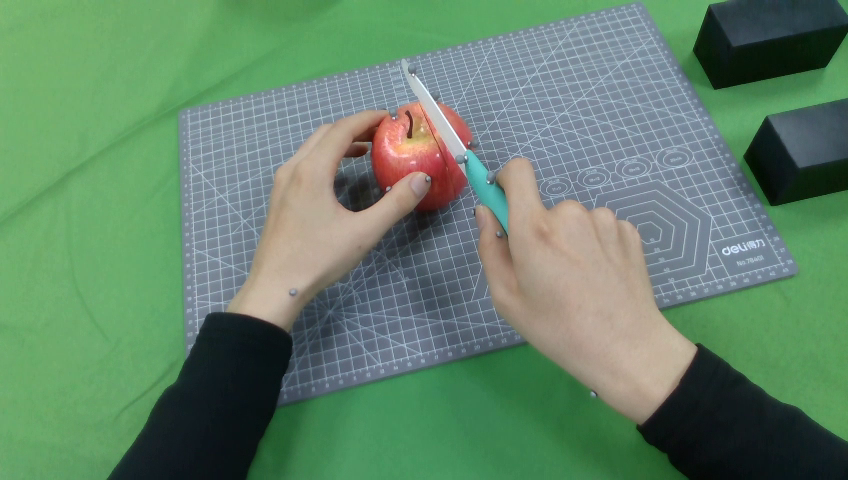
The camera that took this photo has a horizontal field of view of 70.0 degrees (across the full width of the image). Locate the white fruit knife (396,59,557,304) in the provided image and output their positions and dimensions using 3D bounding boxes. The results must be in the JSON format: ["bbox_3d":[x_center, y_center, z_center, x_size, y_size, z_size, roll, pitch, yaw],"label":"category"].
[{"bbox_3d":[0.029,-0.049,0.410,0.016,0.027,0.206,-24,69,-20],"label":"white fruit knife"}]

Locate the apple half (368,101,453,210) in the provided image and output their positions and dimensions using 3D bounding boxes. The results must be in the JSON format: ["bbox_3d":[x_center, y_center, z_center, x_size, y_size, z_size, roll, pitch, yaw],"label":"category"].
[{"bbox_3d":[-0.015,-0.059,0.471,0.053,0.075,0.080,-23,66,-1],"label":"apple half"}]

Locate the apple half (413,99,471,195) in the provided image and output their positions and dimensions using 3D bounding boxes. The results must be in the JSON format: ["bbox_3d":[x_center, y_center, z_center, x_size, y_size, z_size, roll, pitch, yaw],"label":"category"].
[{"bbox_3d":[0.020,-0.074,0.473,0.033,0.082,0.080,-22,61,-2],"label":"apple half"}]
